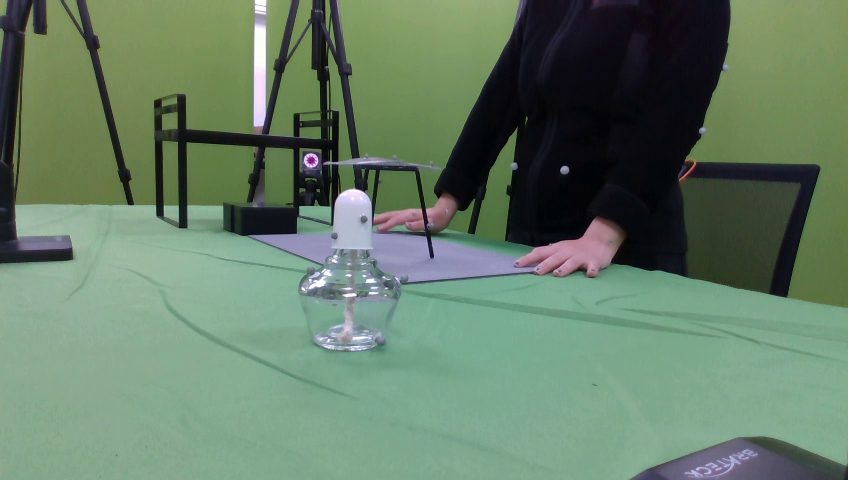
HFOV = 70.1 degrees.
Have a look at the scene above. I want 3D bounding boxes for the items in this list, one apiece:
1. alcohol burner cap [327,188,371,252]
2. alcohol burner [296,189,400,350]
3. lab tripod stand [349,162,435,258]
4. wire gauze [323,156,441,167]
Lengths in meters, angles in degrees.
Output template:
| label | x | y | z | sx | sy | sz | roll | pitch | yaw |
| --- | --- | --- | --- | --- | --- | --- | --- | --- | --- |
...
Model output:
| label | x | y | z | sx | sy | sz | roll | pitch | yaw |
| --- | --- | --- | --- | --- | --- | --- | --- | --- | --- |
| alcohol burner cap | -0.055 | -0.015 | 0.448 | 0.034 | 0.048 | 0.034 | 0 | 1 | 0 |
| alcohol burner | -0.056 | 0.021 | 0.453 | 0.078 | 0.119 | 0.078 | 3 | 6 | 0 |
| lab tripod stand | -0.056 | -0.044 | 0.863 | 0.148 | 0.131 | 0.148 | 3 | 9 | 0 |
| wire gauze | -0.056 | -0.111 | 0.856 | 0.121 | 0.011 | 0.125 | 8 | 10 | 31 |
